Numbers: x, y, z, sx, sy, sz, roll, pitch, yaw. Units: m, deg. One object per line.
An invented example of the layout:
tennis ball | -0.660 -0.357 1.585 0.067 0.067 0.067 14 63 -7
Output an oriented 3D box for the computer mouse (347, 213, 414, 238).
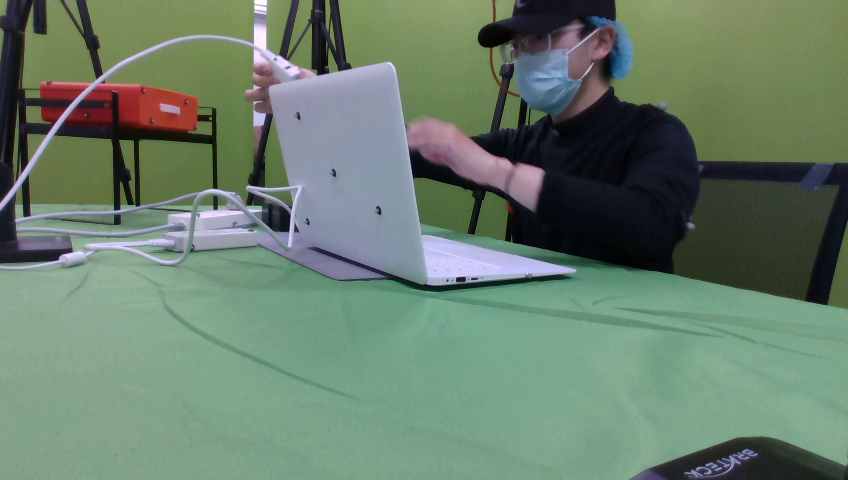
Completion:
computer mouse | -0.079 -0.025 1.080 0.117 0.041 0.062 -5 12 -18

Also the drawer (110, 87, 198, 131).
drawer | -0.602 -0.263 1.225 0.211 0.073 0.195 3 8 10

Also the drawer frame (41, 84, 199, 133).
drawer frame | -0.604 -0.264 1.225 0.213 0.082 0.202 3 8 8

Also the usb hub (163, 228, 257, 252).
usb hub | -0.314 0.000 0.895 0.049 0.025 0.126 10 11 41

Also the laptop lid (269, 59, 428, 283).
laptop lid | -0.110 -0.087 0.752 0.013 0.241 0.355 -18 19 -30

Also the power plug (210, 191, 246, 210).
power plug | -0.387 -0.071 1.203 0.072 0.052 0.035 8 10 25

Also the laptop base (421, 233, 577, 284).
laptop base | 0.007 0.022 0.850 0.237 0.023 0.352 1 7 -34

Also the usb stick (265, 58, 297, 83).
usb stick | -0.213 -0.249 0.922 0.059 0.027 0.021 43 46 7

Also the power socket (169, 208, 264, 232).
power socket | -0.381 -0.038 1.128 0.072 0.032 0.227 4 8 17
